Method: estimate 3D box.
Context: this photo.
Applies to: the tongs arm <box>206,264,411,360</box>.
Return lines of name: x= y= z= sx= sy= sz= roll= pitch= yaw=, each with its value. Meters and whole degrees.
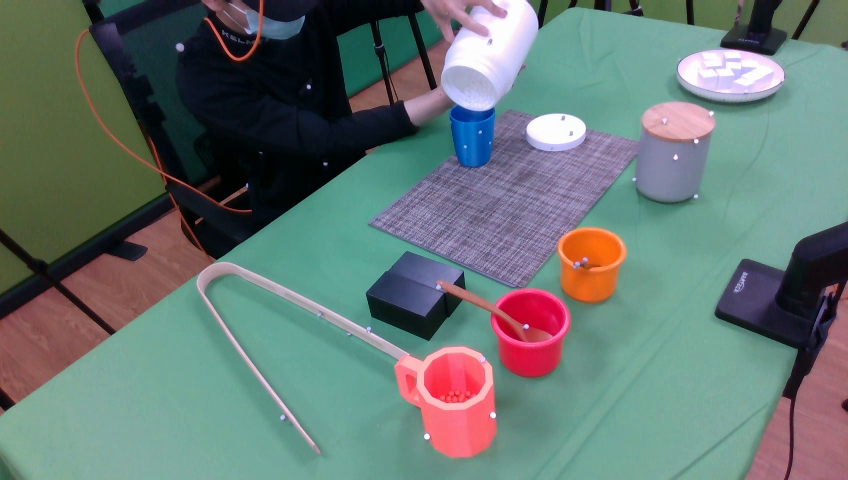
tongs arm: x=-0.179 y=0.107 z=0.870 sx=0.381 sy=0.026 sz=0.051 roll=23 pitch=53 yaw=32

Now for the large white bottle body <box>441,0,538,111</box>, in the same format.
large white bottle body: x=0.116 y=-0.336 z=1.087 sx=0.130 sy=0.131 sz=0.184 roll=15 pitch=64 yaw=24

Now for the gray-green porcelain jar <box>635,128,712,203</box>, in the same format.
gray-green porcelain jar: x=0.405 y=-0.133 z=0.992 sx=0.106 sy=0.127 sz=0.105 roll=-4 pitch=40 yaw=4

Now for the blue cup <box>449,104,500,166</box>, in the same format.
blue cup: x=0.092 y=-0.194 z=1.123 sx=0.092 sy=0.100 sz=0.092 roll=-3 pitch=40 yaw=3

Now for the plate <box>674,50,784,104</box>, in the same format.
plate: x=0.631 y=-0.336 z=1.262 sx=0.207 sy=0.039 sz=0.206 roll=-4 pitch=41 yaw=4

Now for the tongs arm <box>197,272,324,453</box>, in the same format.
tongs arm: x=-0.236 y=0.154 z=0.830 sx=0.028 sy=0.028 sz=0.384 roll=-36 pitch=47 yaw=-19

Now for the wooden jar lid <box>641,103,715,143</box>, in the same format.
wooden jar lid: x=0.398 y=-0.180 z=0.952 sx=0.108 sy=0.021 sz=0.108 roll=-4 pitch=43 yaw=4

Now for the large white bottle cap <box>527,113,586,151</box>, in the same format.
large white bottle cap: x=0.259 y=-0.213 z=1.184 sx=0.115 sy=0.018 sz=0.114 roll=-4 pitch=41 yaw=4

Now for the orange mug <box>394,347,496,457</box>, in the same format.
orange mug: x=0.024 y=0.181 z=0.703 sx=0.125 sy=0.101 sz=0.083 roll=20 pitch=48 yaw=23

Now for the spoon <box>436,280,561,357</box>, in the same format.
spoon: x=0.096 y=0.095 z=0.757 sx=0.195 sy=0.021 sz=0.041 roll=34 pitch=40 yaw=-20

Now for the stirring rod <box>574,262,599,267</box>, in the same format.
stirring rod: x=0.221 y=0.033 z=0.817 sx=0.014 sy=0.006 sz=0.177 roll=8 pitch=1 yaw=22
